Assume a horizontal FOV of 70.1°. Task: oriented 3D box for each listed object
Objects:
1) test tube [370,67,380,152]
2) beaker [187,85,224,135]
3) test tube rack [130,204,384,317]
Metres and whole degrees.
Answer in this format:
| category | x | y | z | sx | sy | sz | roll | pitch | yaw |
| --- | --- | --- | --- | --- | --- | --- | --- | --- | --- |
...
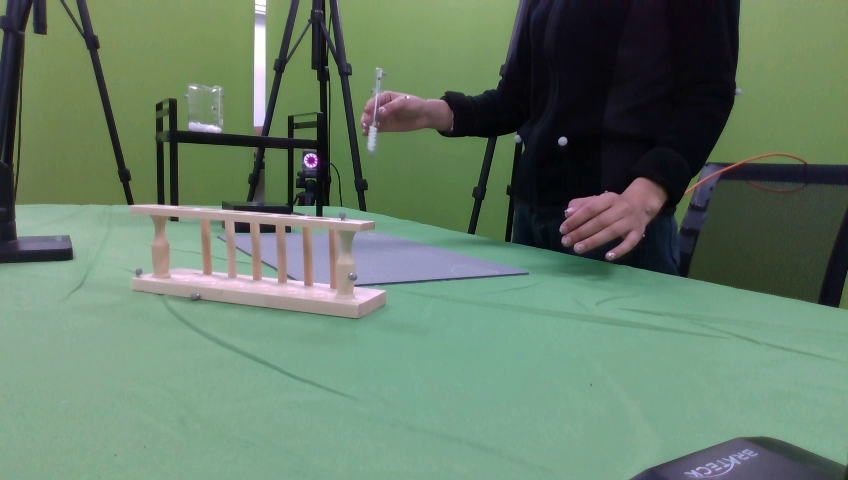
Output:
| category | x | y | z | sx | sy | sz | roll | pitch | yaw |
| --- | --- | --- | --- | --- | --- | --- | --- | --- | --- |
| test tube | -0.086 | -0.230 | 1.066 | 0.017 | 0.150 | 0.017 | 1 | -2 | 0 |
| beaker | -0.466 | -0.276 | 1.296 | 0.074 | 0.100 | 0.083 | -3 | 10 | -35 |
| test tube rack | -0.162 | 0.013 | 0.589 | 0.242 | 0.085 | 0.067 | 4 | 8 | 17 |
